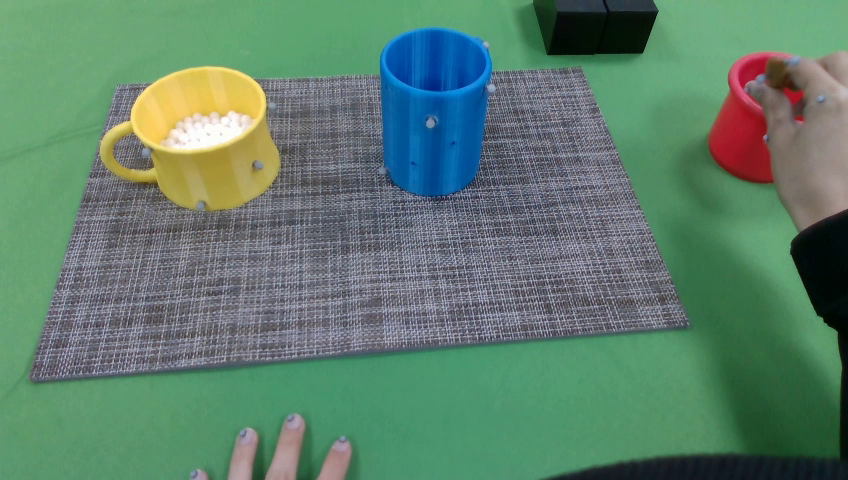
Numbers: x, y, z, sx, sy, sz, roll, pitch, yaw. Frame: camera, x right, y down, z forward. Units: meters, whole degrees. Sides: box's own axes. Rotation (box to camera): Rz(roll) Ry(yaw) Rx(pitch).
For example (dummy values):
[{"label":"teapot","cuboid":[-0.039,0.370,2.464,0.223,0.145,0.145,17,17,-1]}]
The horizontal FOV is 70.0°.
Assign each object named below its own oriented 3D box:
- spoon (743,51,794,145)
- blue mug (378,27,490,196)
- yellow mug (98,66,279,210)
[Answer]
[{"label":"spoon","cuboid":[0.270,-0.107,0.470,0.041,0.195,0.021,24,91,29]},{"label":"blue mug","cuboid":[0.016,-0.110,0.491,0.082,0.107,0.116,33,58,21]},{"label":"yellow mug","cuboid":[-0.187,-0.078,0.480,0.131,0.064,0.099,-16,55,-14]}]
